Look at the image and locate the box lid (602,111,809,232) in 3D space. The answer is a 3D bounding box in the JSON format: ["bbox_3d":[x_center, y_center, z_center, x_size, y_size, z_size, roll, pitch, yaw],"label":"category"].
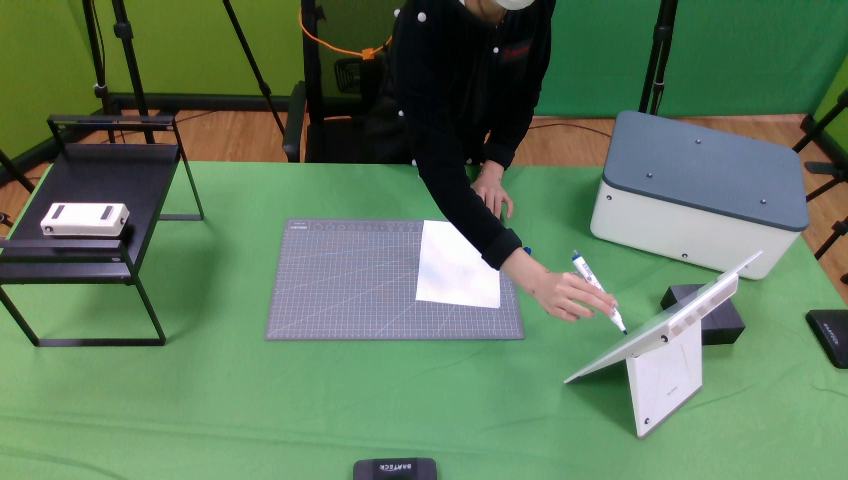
[{"bbox_3d":[0.545,-0.143,1.176,0.371,0.015,0.262,15,47,11],"label":"box lid"}]

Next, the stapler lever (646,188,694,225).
[{"bbox_3d":[0.515,-0.078,1.265,0.027,0.040,0.117,-1,41,-30],"label":"stapler lever"}]

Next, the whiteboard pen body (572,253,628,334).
[{"bbox_3d":[0.269,0.082,0.922,0.017,0.017,0.140,-26,78,-26],"label":"whiteboard pen body"}]

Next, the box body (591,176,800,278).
[{"bbox_3d":[0.540,-0.092,1.229,0.363,0.161,0.253,16,47,11],"label":"box body"}]

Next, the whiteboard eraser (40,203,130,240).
[{"bbox_3d":[-0.513,-0.028,0.922,0.113,0.042,0.055,1,48,-3],"label":"whiteboard eraser"}]

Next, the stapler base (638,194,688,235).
[{"bbox_3d":[0.509,-0.059,1.278,0.041,0.024,0.129,-1,40,-30],"label":"stapler base"}]

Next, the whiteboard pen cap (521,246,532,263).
[{"bbox_3d":[0.200,0.029,1.188,0.018,0.018,0.033,15,48,10],"label":"whiteboard pen cap"}]

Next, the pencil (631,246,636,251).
[{"bbox_3d":[0.431,-0.060,1.284,0.012,0.012,0.193,3,58,-1],"label":"pencil"}]

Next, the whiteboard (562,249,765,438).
[{"bbox_3d":[0.386,0.175,0.905,0.217,0.306,0.143,-26,72,-26],"label":"whiteboard"}]
